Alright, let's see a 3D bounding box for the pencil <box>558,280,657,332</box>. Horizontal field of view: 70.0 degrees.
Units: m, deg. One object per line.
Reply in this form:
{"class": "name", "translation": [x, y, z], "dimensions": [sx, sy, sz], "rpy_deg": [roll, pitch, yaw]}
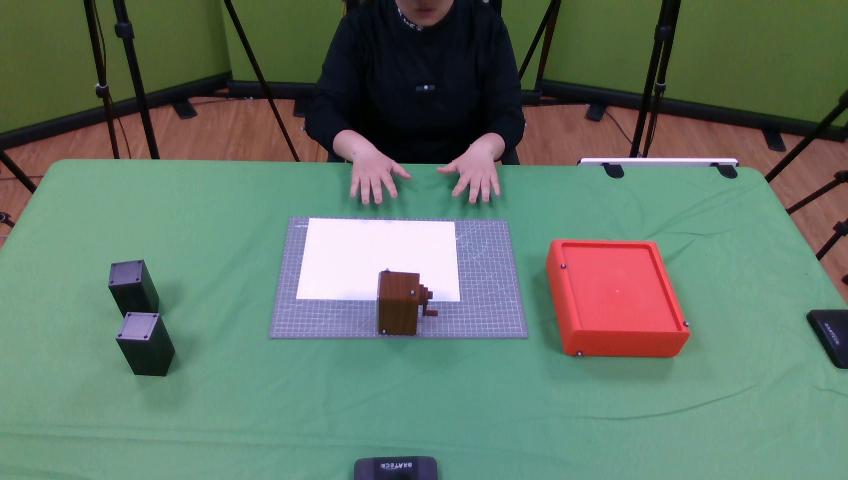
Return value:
{"class": "pencil", "translation": [0.334, 0.121, 1.105], "dimensions": [0.193, 0.012, 0.012], "rpy_deg": [27, 50, 14]}

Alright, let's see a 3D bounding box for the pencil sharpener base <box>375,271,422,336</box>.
{"class": "pencil sharpener base", "translation": [-0.043, 0.109, 1.025], "dimensions": [0.077, 0.107, 0.061], "rpy_deg": [3, 45, -2]}

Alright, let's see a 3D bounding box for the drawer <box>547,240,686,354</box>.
{"class": "drawer", "translation": [0.336, 0.098, 1.087], "dimensions": [0.194, 0.073, 0.210], "rpy_deg": [2, 46, -3]}

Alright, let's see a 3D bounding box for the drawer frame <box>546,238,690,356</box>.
{"class": "drawer frame", "translation": [0.337, 0.098, 1.084], "dimensions": [0.202, 0.083, 0.212], "rpy_deg": [1, 46, -4]}

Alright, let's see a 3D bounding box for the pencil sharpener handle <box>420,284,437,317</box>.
{"class": "pencil sharpener handle", "translation": [0.009, 0.104, 1.017], "dimensions": [0.030, 0.068, 0.036], "rpy_deg": [3, 39, -2]}
